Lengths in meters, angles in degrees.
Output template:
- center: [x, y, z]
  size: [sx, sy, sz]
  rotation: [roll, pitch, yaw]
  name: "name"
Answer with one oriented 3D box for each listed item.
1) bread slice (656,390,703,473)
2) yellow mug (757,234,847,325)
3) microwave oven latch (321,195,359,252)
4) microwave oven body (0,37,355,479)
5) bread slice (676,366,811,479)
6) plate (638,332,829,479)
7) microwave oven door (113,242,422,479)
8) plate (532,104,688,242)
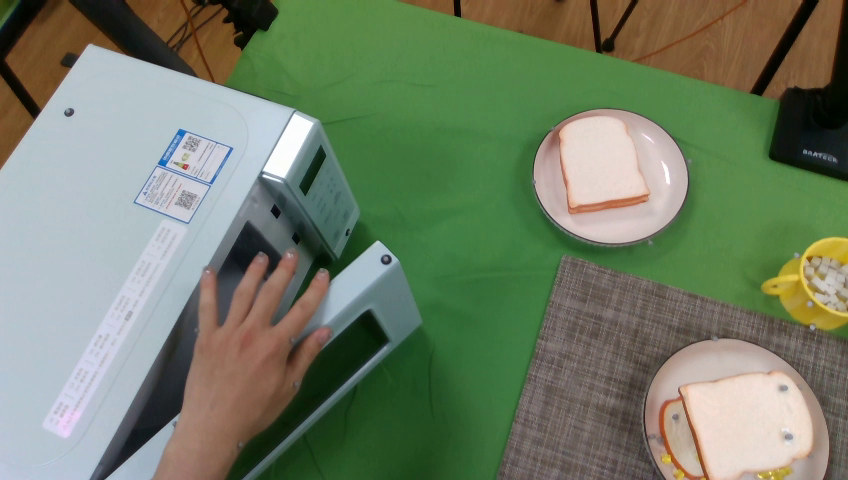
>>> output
- center: [0.343, 0.219, 0.711]
  size: [0.131, 0.019, 0.104]
  rotation: [-13, 68, -1]
  name: "bread slice"
- center: [0.483, 0.050, 0.750]
  size: [0.131, 0.064, 0.099]
  rotation: [-2, 69, 5]
  name: "yellow mug"
- center: [-0.116, -0.026, 0.824]
  size: [0.030, 0.030, 0.079]
  rotation: [22, 73, 12]
  name: "microwave oven latch"
- center: [-0.329, 0.045, 0.712]
  size: [0.325, 0.262, 0.440]
  rotation: [20, 73, 12]
  name: "microwave oven body"
- center: [0.348, 0.190, 0.656]
  size: [0.134, 0.018, 0.106]
  rotation: [-14, 75, -7]
  name: "bread slice"
- center: [0.355, 0.213, 0.710]
  size: [0.209, 0.038, 0.207]
  rotation: [-2, 69, 5]
  name: "plate"
- center: [-0.152, 0.165, 0.647]
  size: [0.355, 0.245, 0.039]
  rotation: [-42, 71, -11]
  name: "microwave oven door"
- center: [0.252, -0.091, 0.838]
  size: [0.207, 0.039, 0.206]
  rotation: [-2, 69, 4]
  name: "plate"
